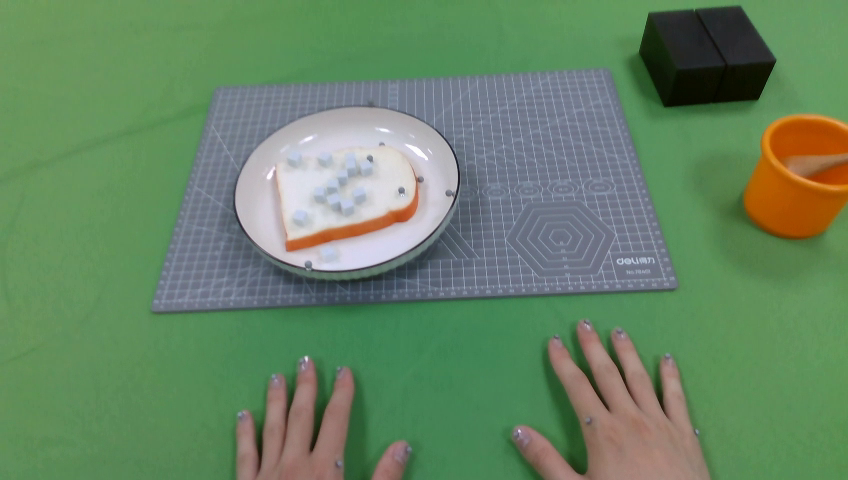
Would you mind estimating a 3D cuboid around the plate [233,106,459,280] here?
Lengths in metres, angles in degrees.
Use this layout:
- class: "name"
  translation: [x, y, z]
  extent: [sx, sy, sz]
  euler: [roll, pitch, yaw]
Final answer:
- class: "plate"
  translation: [-0.071, -0.045, 0.569]
  extent: [0.209, 0.038, 0.207]
  euler: [-1, 53, 2]

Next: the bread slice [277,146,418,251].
- class: "bread slice"
  translation: [-0.073, -0.048, 0.575]
  extent: [0.132, 0.019, 0.103]
  euler: [-15, 54, -6]

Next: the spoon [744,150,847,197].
- class: "spoon"
  translation: [0.359, -0.076, 0.495]
  extent: [0.193, 0.022, 0.041]
  euler: [-18, 40, 43]
